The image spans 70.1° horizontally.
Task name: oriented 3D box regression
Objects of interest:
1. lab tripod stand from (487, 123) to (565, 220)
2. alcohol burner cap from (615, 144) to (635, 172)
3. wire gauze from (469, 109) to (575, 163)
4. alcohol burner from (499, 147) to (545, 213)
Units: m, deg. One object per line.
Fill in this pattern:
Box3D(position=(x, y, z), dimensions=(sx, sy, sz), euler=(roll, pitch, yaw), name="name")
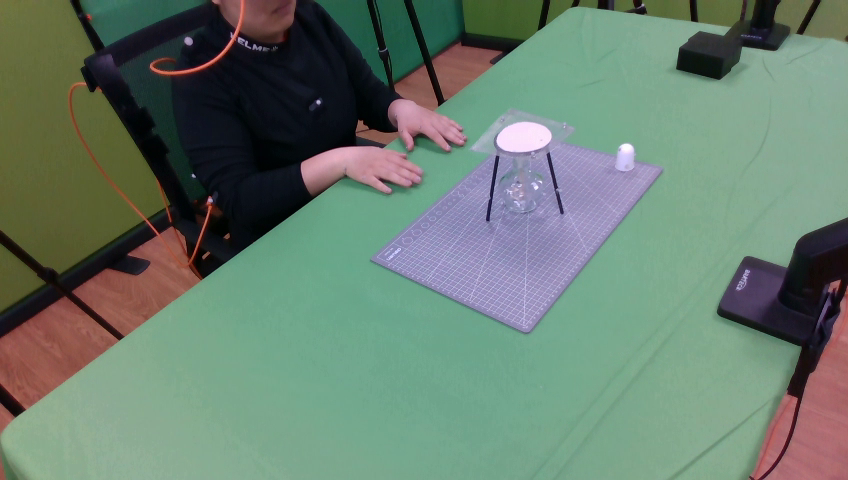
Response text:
Box3D(position=(0.162, -0.110, 0.992), dimensions=(0.148, 0.132, 0.147), euler=(-5, 42, 5), name="lab tripod stand")
Box3D(position=(0.357, -0.147, 1.069), dimensions=(0.034, 0.048, 0.033), euler=(-7, 40, 6), name="alcohol burner cap")
Box3D(position=(0.154, -0.163, 0.950), dimensions=(0.120, 0.011, 0.125), euler=(22, 50, 32), name="wire gauze")
Box3D(position=(0.161, -0.104, 1.001), dimensions=(0.078, 0.120, 0.077), euler=(-6, 42, 6), name="alcohol burner")
